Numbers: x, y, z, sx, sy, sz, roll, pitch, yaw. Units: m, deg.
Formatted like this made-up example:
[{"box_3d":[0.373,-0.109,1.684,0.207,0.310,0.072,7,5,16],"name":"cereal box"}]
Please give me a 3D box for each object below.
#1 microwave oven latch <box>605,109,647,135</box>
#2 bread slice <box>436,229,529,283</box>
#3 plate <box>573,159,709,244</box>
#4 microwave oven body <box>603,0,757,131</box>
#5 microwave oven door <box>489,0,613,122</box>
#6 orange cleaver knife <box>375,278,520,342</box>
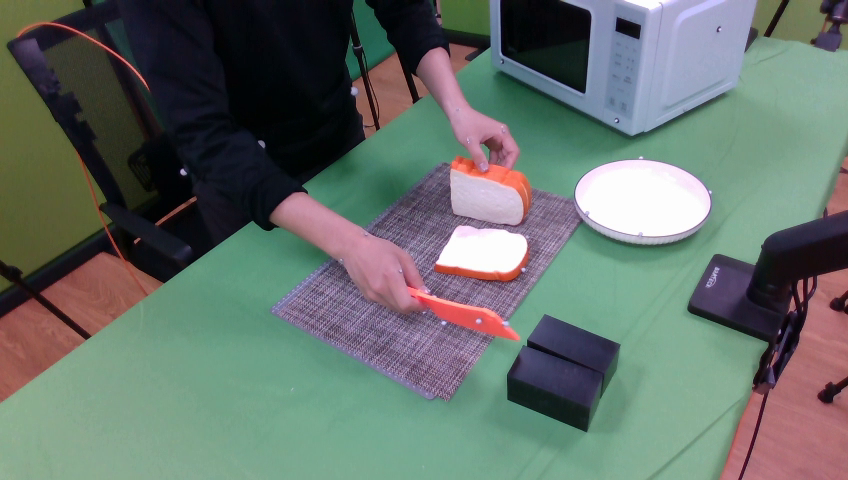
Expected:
[{"box_3d":[0.378,-0.225,1.139,0.030,0.029,0.078,-26,43,-19],"name":"microwave oven latch"},{"box_3d":[0.093,0.025,0.929,0.133,0.018,0.107,7,47,29],"name":"bread slice"},{"box_3d":[0.347,-0.059,0.979,0.207,0.039,0.206,-4,41,4],"name":"plate"},{"box_3d":[0.396,-0.448,1.248,0.327,0.261,0.437,-27,44,-21],"name":"microwave oven body"},{"box_3d":[0.250,-0.412,1.219,0.039,0.245,0.352,-27,44,-21],"name":"microwave oven door"},{"box_3d":[0.025,0.089,0.775,0.209,0.078,0.012,13,63,38],"name":"orange cleaver knife"}]
